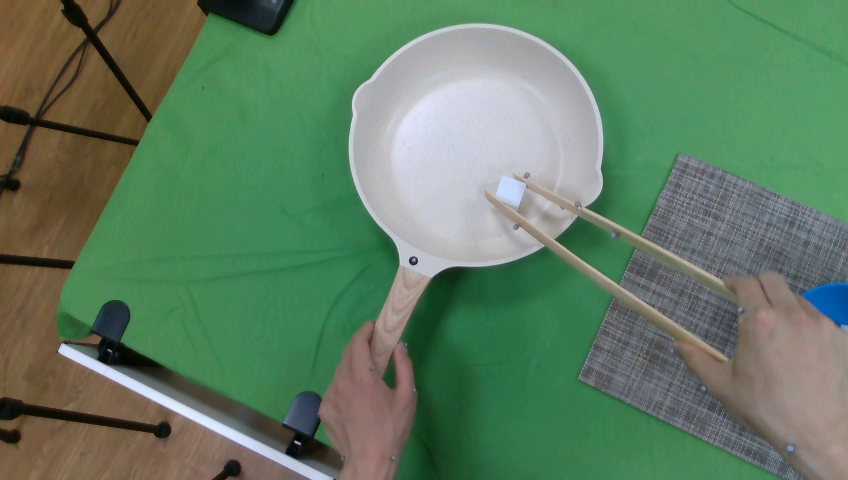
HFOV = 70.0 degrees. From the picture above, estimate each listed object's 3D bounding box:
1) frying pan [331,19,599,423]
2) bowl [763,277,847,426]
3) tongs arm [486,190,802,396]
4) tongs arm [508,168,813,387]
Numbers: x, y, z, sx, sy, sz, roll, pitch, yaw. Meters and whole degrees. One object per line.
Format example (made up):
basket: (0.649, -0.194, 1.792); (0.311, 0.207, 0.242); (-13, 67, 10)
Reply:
frying pan: (0.011, -0.024, 0.694); (0.306, 0.103, 0.486); (24, 75, 9)
bowl: (0.429, 0.118, 0.648); (0.151, 0.077, 0.151); (-1, 80, 4)
tongs arm: (0.172, 0.029, 0.583); (0.028, 0.028, 0.383); (-41, 40, -5)
tongs arm: (0.191, 0.011, 0.584); (0.051, 0.027, 0.380); (-46, 40, -6)
